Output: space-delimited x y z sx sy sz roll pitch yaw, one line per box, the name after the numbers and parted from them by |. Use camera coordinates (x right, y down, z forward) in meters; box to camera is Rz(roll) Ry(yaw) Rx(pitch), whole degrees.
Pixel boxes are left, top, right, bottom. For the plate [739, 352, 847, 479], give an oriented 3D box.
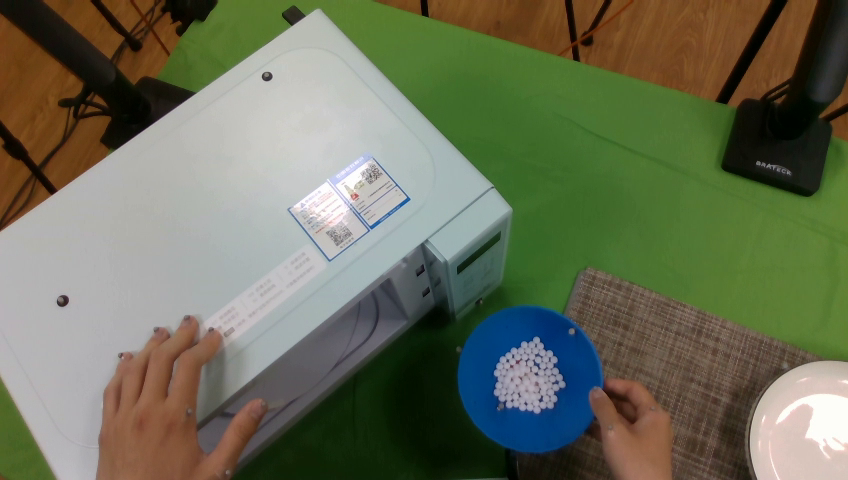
0.449 0.228 0.662 0.207 0.039 0.206 -1 71 4 | plate

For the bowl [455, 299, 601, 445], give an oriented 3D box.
0.110 0.146 0.662 0.151 0.077 0.150 -1 72 4 | bowl

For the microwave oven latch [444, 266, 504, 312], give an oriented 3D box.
0.060 0.052 0.737 0.079 0.030 0.030 -37 72 -8 | microwave oven latch

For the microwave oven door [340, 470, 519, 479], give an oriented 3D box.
-0.080 0.246 0.572 0.356 0.245 0.039 -4 70 3 | microwave oven door

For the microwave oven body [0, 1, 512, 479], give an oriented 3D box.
-0.178 0.025 0.662 0.441 0.262 0.324 -39 73 -9 | microwave oven body
